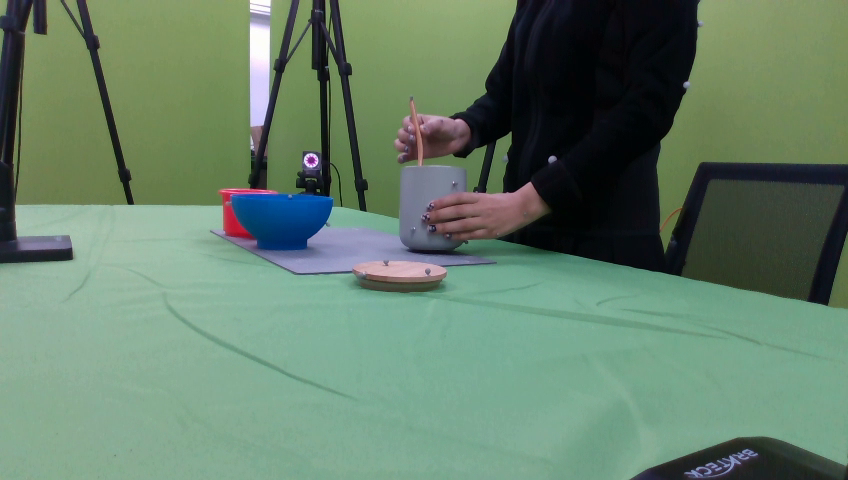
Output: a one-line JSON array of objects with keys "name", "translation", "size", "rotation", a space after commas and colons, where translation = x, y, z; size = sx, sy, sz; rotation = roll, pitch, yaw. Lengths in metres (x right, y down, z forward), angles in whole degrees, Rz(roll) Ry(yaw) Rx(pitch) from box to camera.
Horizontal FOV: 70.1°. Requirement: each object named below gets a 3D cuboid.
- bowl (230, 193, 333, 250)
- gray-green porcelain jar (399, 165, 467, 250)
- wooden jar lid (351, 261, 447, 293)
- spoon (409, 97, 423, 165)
[{"name": "bowl", "translation": [-0.214, -0.028, 0.912], "size": [0.151, 0.077, 0.151], "rotation": [2, 8, 0]}, {"name": "gray-green porcelain jar", "translation": [0.014, -0.049, 0.940], "size": [0.106, 0.126, 0.106], "rotation": [0, 1, 0]}, {"name": "wooden jar lid", "translation": [-0.028, 0.042, 0.687], "size": [0.108, 0.020, 0.108], "rotation": [3, 8, 0]}, {"name": "spoon", "translation": [-0.009, -0.137, 0.955], "size": [0.021, 0.193, 0.042], "rotation": [-6, -13, 9]}]
